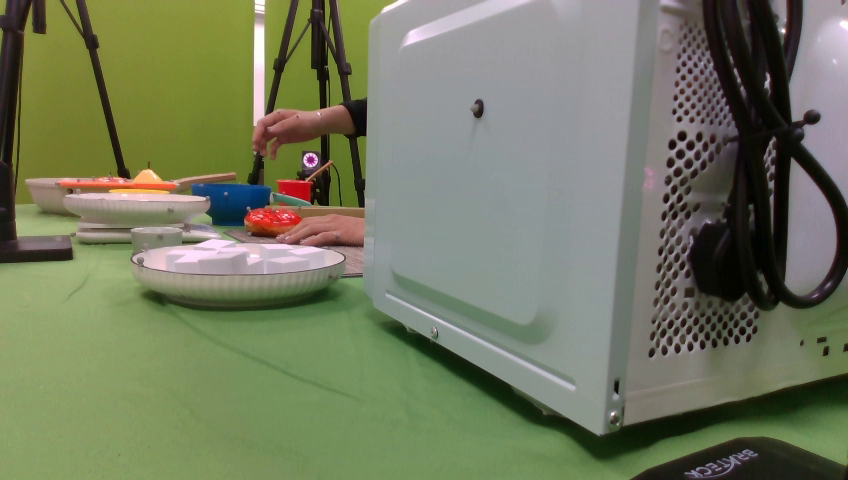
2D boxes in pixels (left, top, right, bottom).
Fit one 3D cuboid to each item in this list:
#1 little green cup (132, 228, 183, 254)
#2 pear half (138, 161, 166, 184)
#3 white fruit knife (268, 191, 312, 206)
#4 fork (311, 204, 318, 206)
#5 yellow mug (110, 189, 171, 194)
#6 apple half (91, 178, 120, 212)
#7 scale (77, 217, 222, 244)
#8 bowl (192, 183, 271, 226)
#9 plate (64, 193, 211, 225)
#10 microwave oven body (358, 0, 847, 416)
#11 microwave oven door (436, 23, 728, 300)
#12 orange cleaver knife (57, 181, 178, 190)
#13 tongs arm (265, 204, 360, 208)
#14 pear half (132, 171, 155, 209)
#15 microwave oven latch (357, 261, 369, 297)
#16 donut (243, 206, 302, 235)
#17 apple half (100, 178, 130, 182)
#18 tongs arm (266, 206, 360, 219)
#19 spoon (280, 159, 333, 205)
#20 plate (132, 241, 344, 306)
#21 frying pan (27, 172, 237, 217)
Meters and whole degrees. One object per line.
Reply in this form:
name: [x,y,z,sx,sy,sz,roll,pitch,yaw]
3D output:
little green cup: [-0.342,0.006,0.779,0.061,0.038,0.061,2,8,0]
pear half: [-0.602,-0.120,1.354,0.056,0.110,0.076,4,11,5]
white fruit knife: [-0.364,-0.105,1.464,0.208,0.027,0.016,15,0,-34]
fork: [-0.356,-0.105,1.526,0.208,0.018,0.028,16,-5,-41]
yellow mug: [-0.519,-0.055,1.081,0.099,0.064,0.131,7,10,26]
apple half: [-0.677,-0.096,1.271,0.033,0.081,0.081,7,8,10]
scale: [-0.434,-0.019,0.963,0.202,0.031,0.148,-1,9,-27]
bowl: [-0.382,-0.071,1.202,0.151,0.077,0.151,3,7,0]
plate: [-0.446,-0.050,0.952,0.209,0.038,0.209,2,7,0]
microwave oven body: [0.211,-0.047,0.475,0.444,0.260,0.324,-1,7,-28]
microwave oven door: [0.180,-0.073,0.621,0.358,0.243,0.039,-2,9,-29]
orange cleaver knife: [-0.600,-0.109,1.189,0.212,0.012,0.077,-1,11,-26]
tongs arm: [-0.213,-0.067,1.441,0.389,0.027,0.028,1,-1,-17]
pear half: [-0.636,-0.113,1.362,0.031,0.088,0.070,3,13,1]
microwave oven latch: [-0.019,0.033,0.530,0.079,0.029,0.030,-1,7,-26]
donut: [-0.261,-0.032,1.043,0.099,0.048,0.099,4,9,0]
apple half: [-0.638,-0.093,1.266,0.053,0.074,0.081,7,5,10]
tongs arm: [-0.175,-0.060,1.364,0.387,0.026,0.050,0,3,-32]
spoon: [-0.316,-0.159,1.640,0.194,0.022,0.041,-50,32,-20]
plate: [-0.187,0.033,0.625,0.208,0.039,0.207,2,7,0]
frying pan: [-0.624,-0.118,1.387,0.305,0.102,0.490,8,17,32]
